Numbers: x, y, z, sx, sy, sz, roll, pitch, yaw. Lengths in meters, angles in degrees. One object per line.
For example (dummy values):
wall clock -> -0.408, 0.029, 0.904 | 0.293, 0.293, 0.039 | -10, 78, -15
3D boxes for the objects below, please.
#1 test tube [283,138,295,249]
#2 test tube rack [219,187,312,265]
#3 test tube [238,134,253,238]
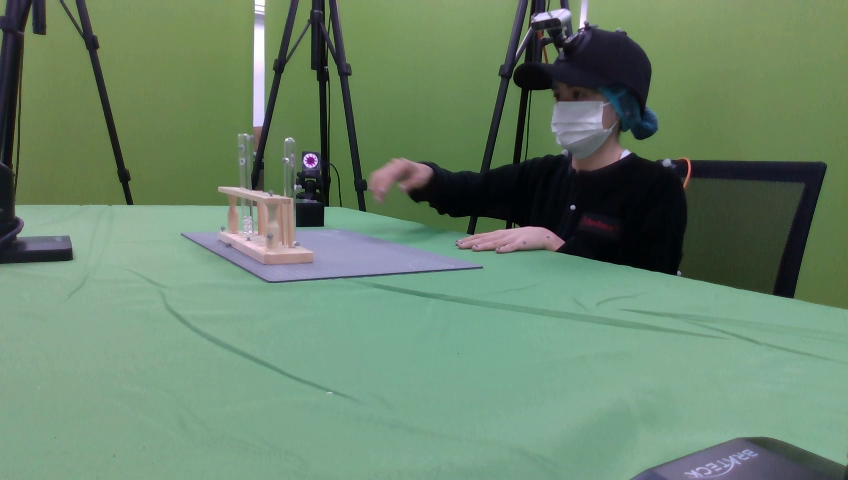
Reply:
test tube -> -0.182, -0.062, 0.815 | 0.017, 0.150, 0.017 | 2, 8, 0
test tube rack -> -0.235, -0.027, 0.872 | 0.067, 0.085, 0.241 | -2, 8, -31
test tube -> -0.258, -0.078, 0.873 | 0.017, 0.150, 0.017 | -1, 5, 0
